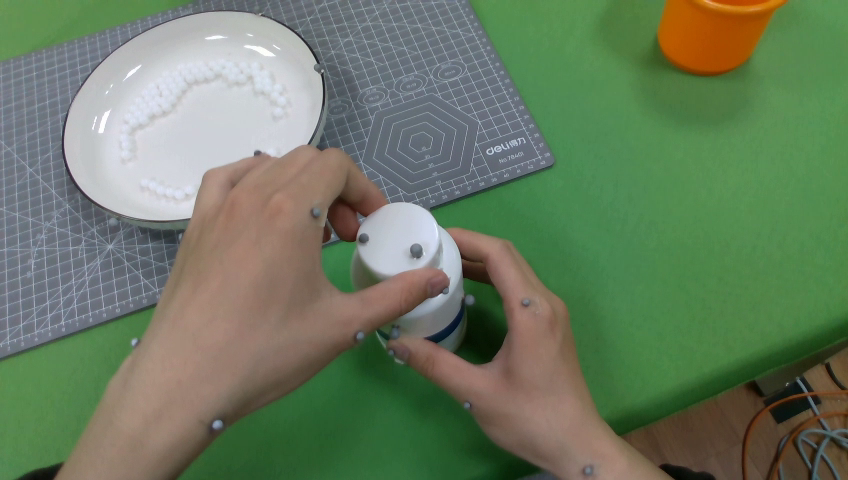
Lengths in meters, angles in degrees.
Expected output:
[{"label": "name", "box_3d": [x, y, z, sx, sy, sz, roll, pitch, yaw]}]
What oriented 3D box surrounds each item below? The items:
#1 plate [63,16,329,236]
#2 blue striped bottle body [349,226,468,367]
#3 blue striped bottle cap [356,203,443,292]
[{"label": "plate", "box_3d": [-0.176, -0.091, 0.485, 0.207, 0.039, 0.206, -2, 63, 4]}, {"label": "blue striped bottle body", "box_3d": [-0.007, 0.030, 0.363, 0.063, 0.122, 0.062, -3, 62, 6]}, {"label": "blue striped bottle cap", "box_3d": [-0.013, 0.003, 0.312, 0.044, 0.021, 0.044, -2, 62, 3]}]
